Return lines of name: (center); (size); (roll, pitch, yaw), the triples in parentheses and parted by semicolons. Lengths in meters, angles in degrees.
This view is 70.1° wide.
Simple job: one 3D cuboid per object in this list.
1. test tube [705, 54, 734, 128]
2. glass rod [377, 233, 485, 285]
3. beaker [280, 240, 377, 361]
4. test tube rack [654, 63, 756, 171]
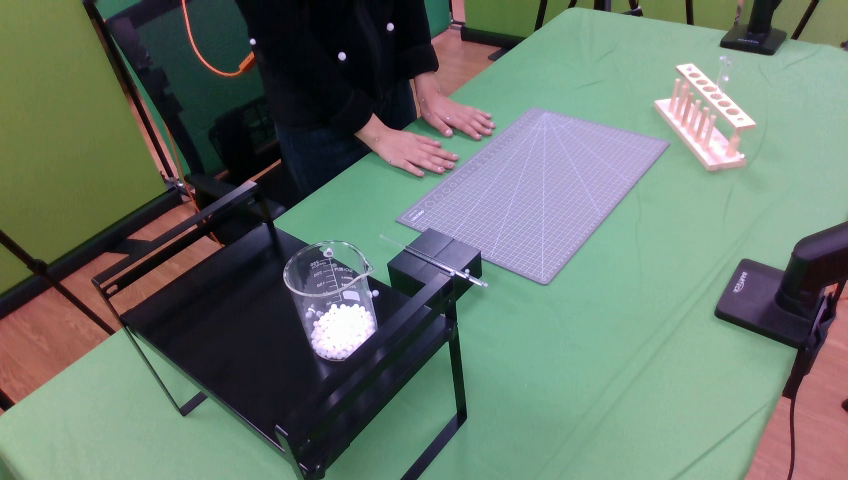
test tube: (0.523, -0.260, 1.073); (0.017, 0.151, 0.017); (-4, 46, 5)
glass rod: (0.005, 0.025, 0.877); (0.198, 0.008, 0.008); (24, 50, 31)
beaker: (-0.084, 0.061, 0.580); (0.084, 0.101, 0.073); (-3, 41, 5)
test tube rack: (0.510, -0.234, 1.120); (0.067, 0.085, 0.241); (-8, 41, -1)
